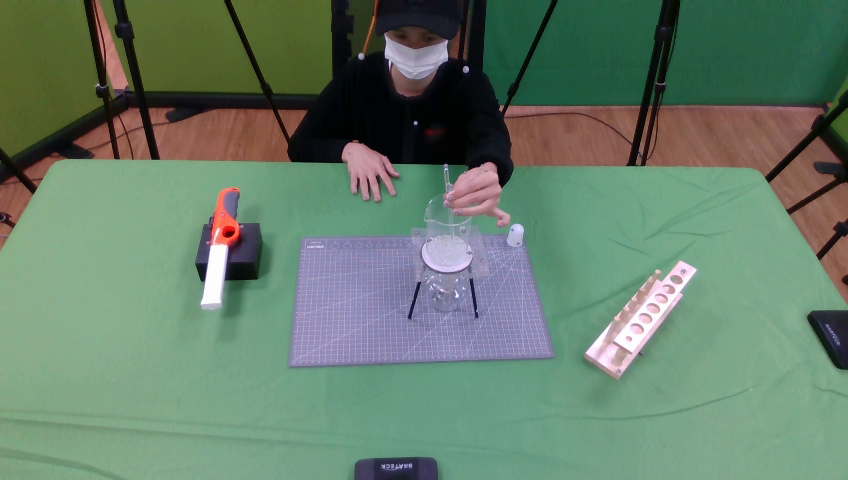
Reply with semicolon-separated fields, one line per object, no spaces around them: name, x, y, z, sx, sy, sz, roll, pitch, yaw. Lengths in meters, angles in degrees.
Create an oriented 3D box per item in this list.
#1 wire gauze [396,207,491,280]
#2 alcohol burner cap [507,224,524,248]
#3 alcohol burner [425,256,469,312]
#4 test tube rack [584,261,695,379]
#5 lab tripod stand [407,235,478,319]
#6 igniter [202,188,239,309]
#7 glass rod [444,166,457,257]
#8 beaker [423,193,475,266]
wire gauze;0.032;0.006;1.001;0.125;0.011;0.120;-20;52;-16
alcohol burner cap;0.183;-0.010;1.206;0.034;0.048;0.033;1;45;0
alcohol burner;0.041;0.072;1.065;0.078;0.120;0.077;1;46;-1
test tube rack;0.380;0.127;1.062;0.066;0.085;0.242;34;53;26
lab tripod stand;0.032;0.065;1.057;0.148;0.132;0.147;1;45;-1
igniter;-0.367;0.006;1.095;0.057;0.025;0.274;-2;49;-7
glass rod;0.042;-0.037;0.923;0.008;0.201;0.008;-4;49;5
beaker;0.036;-0.013;0.974;0.084;0.101;0.073;-18;48;-19
